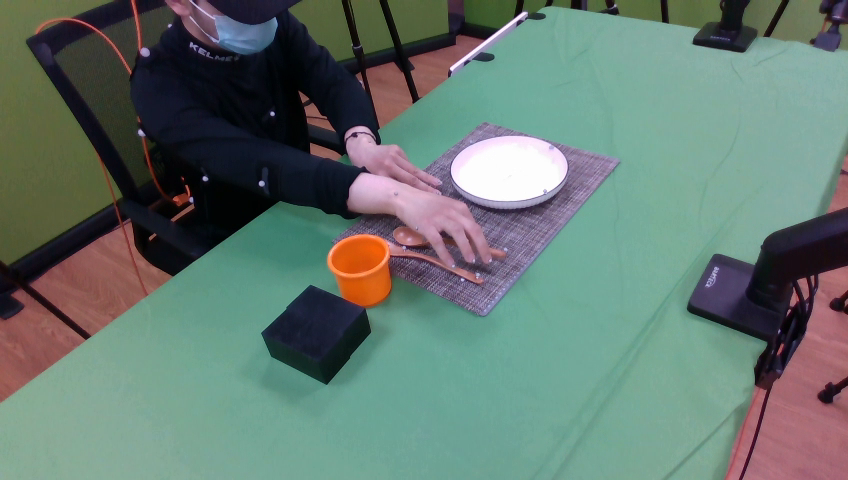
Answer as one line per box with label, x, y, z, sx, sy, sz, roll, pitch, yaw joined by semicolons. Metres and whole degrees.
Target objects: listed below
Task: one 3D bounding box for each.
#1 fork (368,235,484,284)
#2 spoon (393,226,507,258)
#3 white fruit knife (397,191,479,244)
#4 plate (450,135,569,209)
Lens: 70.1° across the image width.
fork;0.000;0.030;0.930;0.206;0.019;0.028;18;41;29
spoon;0.037;0.005;0.940;0.192;0.022;0.042;9;39;29
white fruit knife;0.018;-0.036;1.005;0.027;0.016;0.205;-26;42;-31
plate;0.149;-0.117;1.065;0.209;0.038;0.208;-4;41;4
